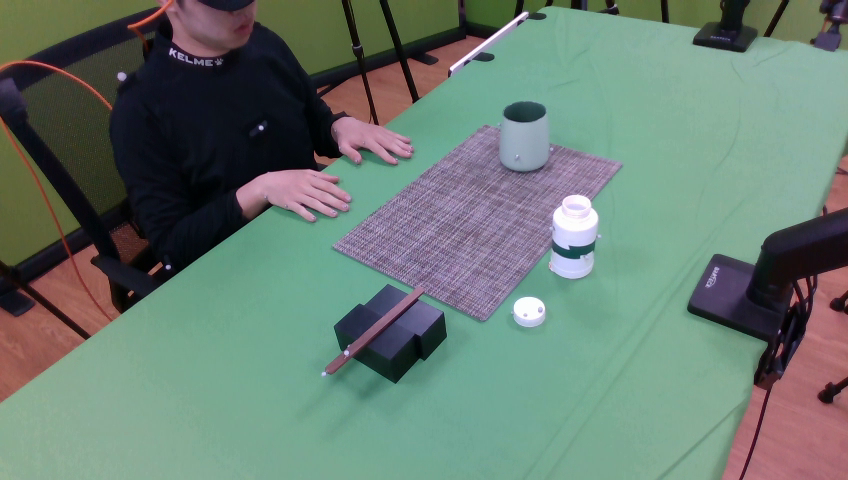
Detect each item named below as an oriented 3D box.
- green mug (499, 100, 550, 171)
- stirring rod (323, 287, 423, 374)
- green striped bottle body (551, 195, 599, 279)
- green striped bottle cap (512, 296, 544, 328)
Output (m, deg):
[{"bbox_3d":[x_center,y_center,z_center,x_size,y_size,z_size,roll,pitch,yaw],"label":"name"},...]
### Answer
[{"bbox_3d":[0.183,-0.197,1.101,0.092,0.105,0.125,-1,41,8],"label":"green mug"},{"bbox_3d":[-0.062,0.114,0.781,0.014,0.006,0.177,25,49,34],"label":"stirring rod"},{"bbox_3d":[0.217,-0.006,0.870,0.063,0.120,0.063,-4,41,4],"label":"green striped bottle body"},{"bbox_3d":[0.144,0.099,0.837,0.044,0.020,0.044,-1,43,2],"label":"green striped bottle cap"}]
